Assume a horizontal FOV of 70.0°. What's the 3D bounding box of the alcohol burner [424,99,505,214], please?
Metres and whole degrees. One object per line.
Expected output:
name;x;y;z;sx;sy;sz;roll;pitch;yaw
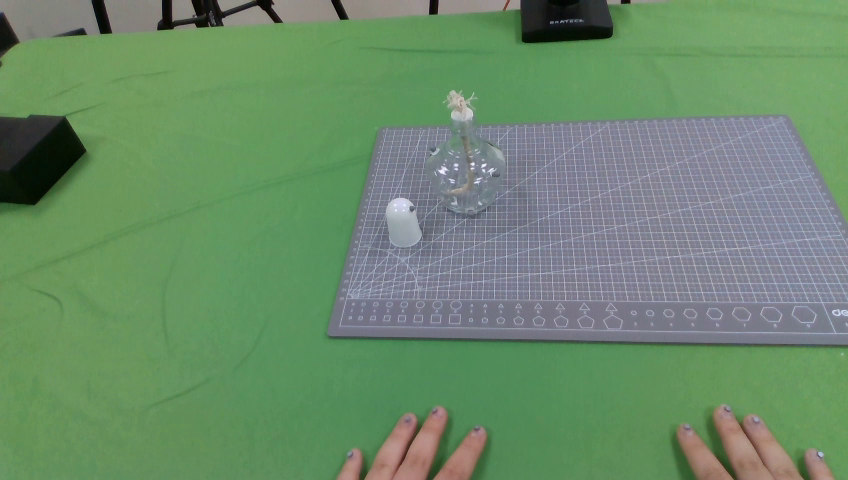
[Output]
alcohol burner;0.038;-0.082;0.572;0.078;0.120;0.077;-3;46;3

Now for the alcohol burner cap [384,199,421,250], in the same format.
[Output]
alcohol burner cap;-0.021;-0.018;0.568;0.034;0.048;0.033;-4;46;4
